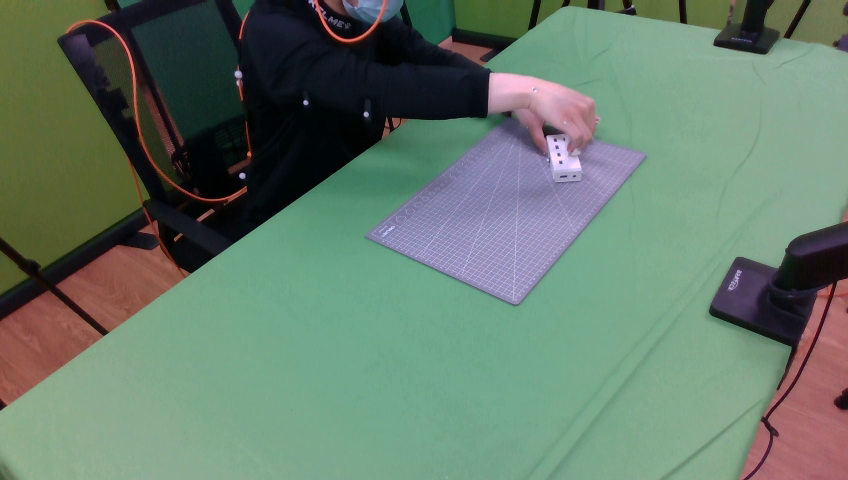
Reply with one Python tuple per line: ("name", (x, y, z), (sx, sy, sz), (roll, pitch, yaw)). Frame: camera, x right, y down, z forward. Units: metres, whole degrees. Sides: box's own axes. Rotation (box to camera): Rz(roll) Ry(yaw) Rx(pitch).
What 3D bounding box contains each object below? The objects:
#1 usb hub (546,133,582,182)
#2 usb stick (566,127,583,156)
("usb hub", (0.255, -0.152, 1.103), (0.049, 0.025, 0.124), (-3, 41, 5))
("usb stick", (0.267, -0.169, 1.076), (0.027, 0.059, 0.021), (-4, 36, 1))
